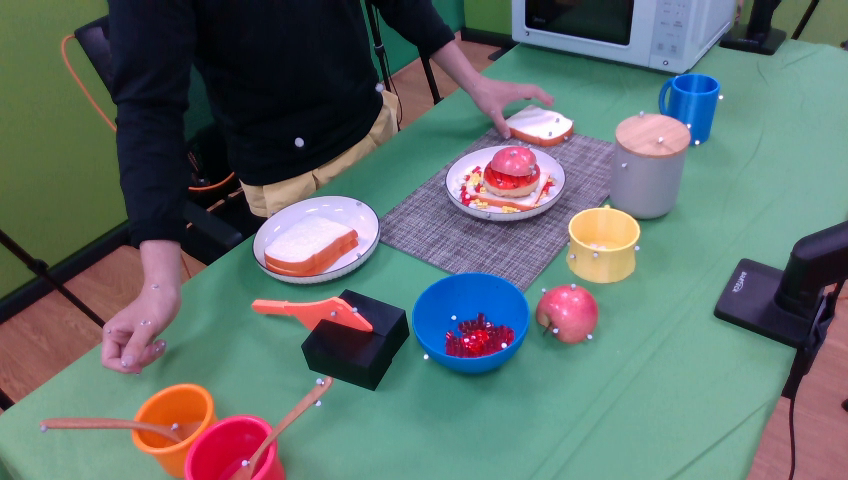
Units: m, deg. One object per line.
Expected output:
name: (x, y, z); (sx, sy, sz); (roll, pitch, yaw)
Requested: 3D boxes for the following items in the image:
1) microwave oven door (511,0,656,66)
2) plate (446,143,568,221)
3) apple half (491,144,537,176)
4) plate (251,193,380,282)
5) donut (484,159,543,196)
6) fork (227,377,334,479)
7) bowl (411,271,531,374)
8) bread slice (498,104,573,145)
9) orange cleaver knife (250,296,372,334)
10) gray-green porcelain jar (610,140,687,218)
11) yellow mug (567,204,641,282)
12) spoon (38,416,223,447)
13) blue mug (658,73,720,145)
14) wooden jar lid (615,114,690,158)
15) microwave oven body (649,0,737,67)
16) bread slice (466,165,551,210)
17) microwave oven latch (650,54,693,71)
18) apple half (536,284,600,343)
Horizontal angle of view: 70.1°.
microwave oven door: (0.350, -0.539, 1.348); (0.353, 0.245, 0.039); (24, 50, 31)
plate: (0.142, -0.097, 1.045); (0.207, 0.039, 0.206); (-4, 40, 4)
apple half: (0.149, -0.139, 0.995); (0.081, 0.033, 0.081); (1, 38, 0)
plate: (-0.173, -0.001, 0.984); (0.209, 0.038, 0.208); (-4, 40, 4)
donut: (0.150, -0.112, 1.018); (0.099, 0.048, 0.098); (-4, 40, 3)
fork: (-0.162, 0.216, 0.647); (0.207, 0.019, 0.028); (-49, 41, 16)
bowl: (0.062, 0.119, 0.780); (0.151, 0.077, 0.150); (-4, 40, 4)
bread slice: (0.231, -0.231, 1.205); (0.105, 0.019, 0.130); (-36, 47, -28)
orange cleaver knife: (-0.159, 0.103, 0.828); (0.210, 0.078, 0.012); (-4, 43, 39)
gray-green porcelain jar: (0.354, -0.106, 0.964); (0.106, 0.127, 0.105); (-4, 41, 4)
yellow mug: (0.268, -0.005, 0.905); (0.099, 0.064, 0.130); (6, 42, 15)
spoon: (-0.320, 0.209, 0.677); (0.021, 0.195, 0.041); (-53, 41, 15)
blue mug: (0.483, -0.250, 1.127); (0.082, 0.106, 0.115); (-26, 44, -19)
wooden jar lid: (0.347, -0.155, 0.923); (0.108, 0.021, 0.108); (-3, 44, 4)
microwave oven body: (0.475, -0.602, 1.411); (0.438, 0.261, 0.327); (23, 50, 32)
bread slice: (0.141, -0.093, 1.041); (0.133, 0.018, 0.107); (8, 42, 20)
microwave oven latch: (0.531, -0.386, 1.301); (0.078, 0.029, 0.030); (26, 51, 33)
apple half: (0.196, 0.091, 0.815); (0.075, 0.053, 0.080); (-22, 42, -20)
